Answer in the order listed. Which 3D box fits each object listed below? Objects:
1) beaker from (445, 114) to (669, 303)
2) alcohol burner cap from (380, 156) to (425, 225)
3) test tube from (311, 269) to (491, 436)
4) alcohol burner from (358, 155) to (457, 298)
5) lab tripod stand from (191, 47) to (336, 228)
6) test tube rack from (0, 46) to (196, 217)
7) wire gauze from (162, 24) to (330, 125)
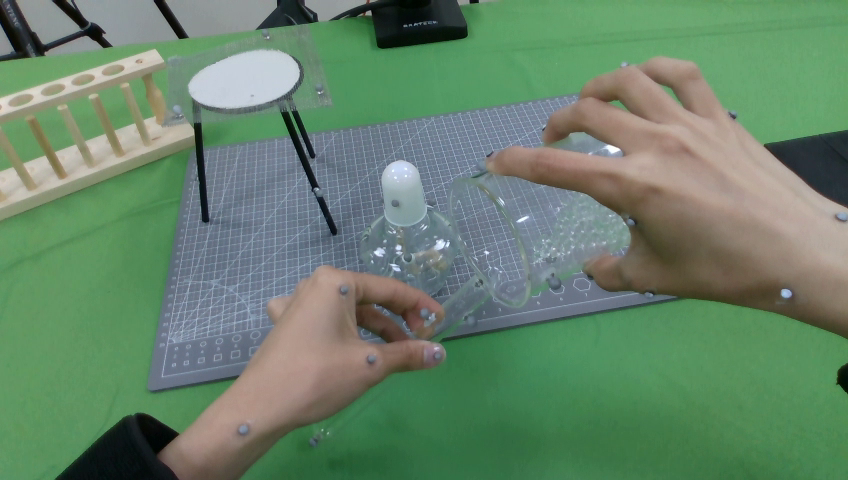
[{"bbox_3d":[0.073,-0.019,0.329,0.100,0.084,0.073,-26,58,-17],"label":"beaker"},{"bbox_3d":[-0.017,-0.038,0.434,0.034,0.048,0.033,-3,47,4],"label":"alcohol burner cap"},{"bbox_3d":[-0.017,0.071,0.367,0.150,0.017,0.017,-44,46,15],"label":"test tube"},{"bbox_3d":[-0.014,-0.013,0.460,0.078,0.120,0.077,-2,43,3],"label":"alcohol burner"},{"bbox_3d":[-0.140,-0.085,0.528,0.148,0.133,0.147,-3,47,3],"label":"lab tripod stand"},{"bbox_3d":[-0.363,-0.105,0.603,0.242,0.086,0.066,-27,49,-21],"label":"test tube rack"},{"bbox_3d":[-0.144,-0.132,0.480,0.125,0.011,0.120,-14,46,-7],"label":"wire gauze"}]
